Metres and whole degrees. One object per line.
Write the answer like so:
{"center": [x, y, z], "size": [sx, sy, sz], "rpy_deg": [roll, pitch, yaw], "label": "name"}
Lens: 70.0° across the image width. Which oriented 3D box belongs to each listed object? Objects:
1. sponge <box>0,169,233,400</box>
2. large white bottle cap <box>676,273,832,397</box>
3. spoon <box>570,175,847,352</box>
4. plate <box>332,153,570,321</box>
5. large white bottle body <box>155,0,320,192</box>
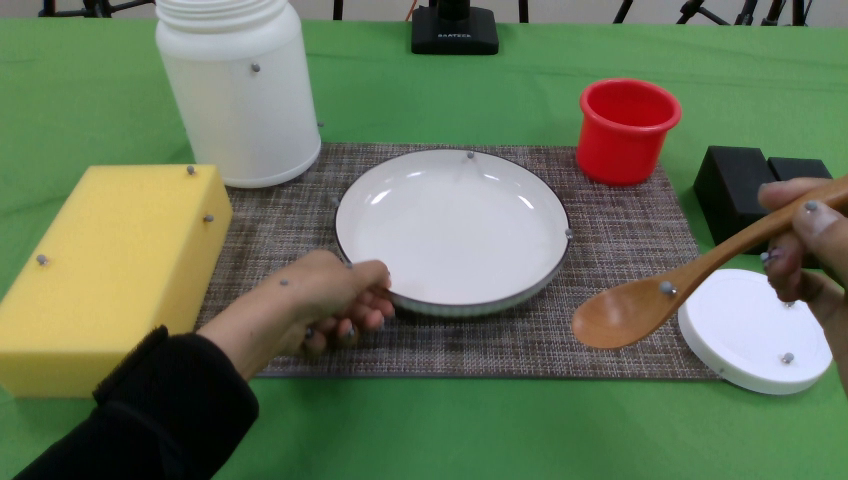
{"center": [-0.243, 0.026, 0.493], "size": [0.118, 0.061, 0.204], "rpy_deg": [-1, 43, 0], "label": "sponge"}
{"center": [0.263, 0.073, 0.487], "size": [0.115, 0.018, 0.113], "rpy_deg": [2, 44, -2], "label": "large white bottle cap"}
{"center": [0.149, 0.004, 0.281], "size": [0.022, 0.194, 0.041], "rpy_deg": [36, 38, -20], "label": "spoon"}
{"center": [0.024, -0.004, 0.544], "size": [0.209, 0.038, 0.207], "rpy_deg": [1, 43, -1], "label": "plate"}
{"center": [-0.178, -0.155, 0.591], "size": [0.130, 0.186, 0.129], "rpy_deg": [-1, 42, 1], "label": "large white bottle body"}
